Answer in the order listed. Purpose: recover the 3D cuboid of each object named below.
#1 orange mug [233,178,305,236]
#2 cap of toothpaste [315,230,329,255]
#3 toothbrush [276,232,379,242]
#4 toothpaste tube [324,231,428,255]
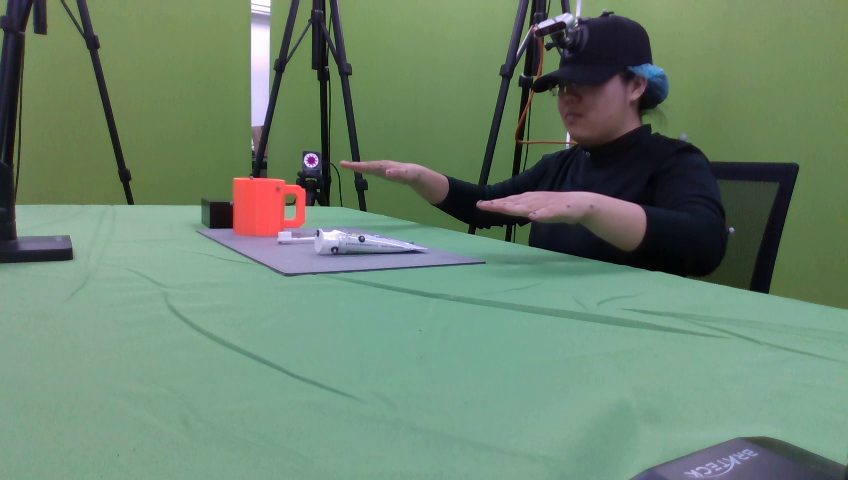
[{"bbox_3d":[-0.273,-0.061,1.067,0.127,0.101,0.083,-5,10,-24],"label":"orange mug"},{"bbox_3d":[-0.144,0.003,0.854,0.011,0.037,0.037,2,6,-30],"label":"cap of toothpaste"},{"bbox_3d":[-0.153,-0.005,0.990,0.183,0.016,0.014,-1,-6,-33],"label":"toothbrush"},{"bbox_3d":[-0.076,0.006,0.893,0.166,0.034,0.055,1,10,-32],"label":"toothpaste tube"}]
